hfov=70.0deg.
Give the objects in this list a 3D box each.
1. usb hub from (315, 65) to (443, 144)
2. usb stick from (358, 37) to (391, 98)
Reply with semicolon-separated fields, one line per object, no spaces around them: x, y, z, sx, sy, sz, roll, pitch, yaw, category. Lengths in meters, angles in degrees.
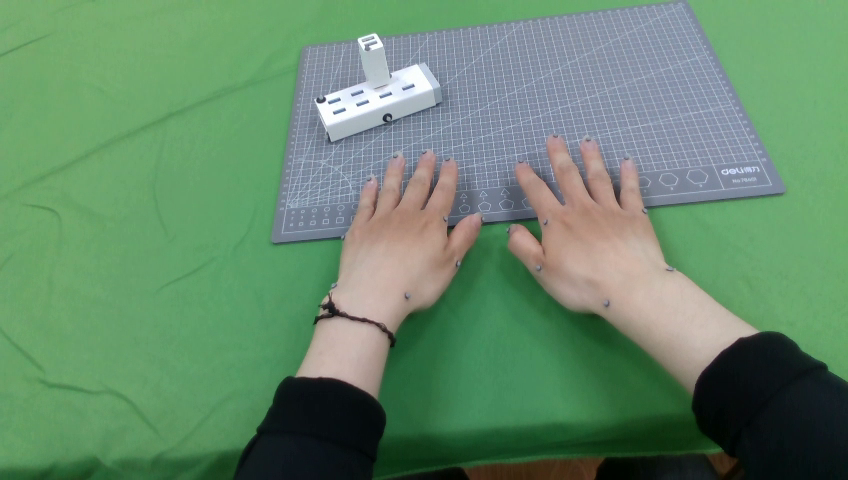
-0.047;-0.143;0.631;0.125;0.025;0.049;-21;52;-8;usb hub
-0.049;-0.173;0.618;0.021;0.060;0.027;-22;50;-9;usb stick
